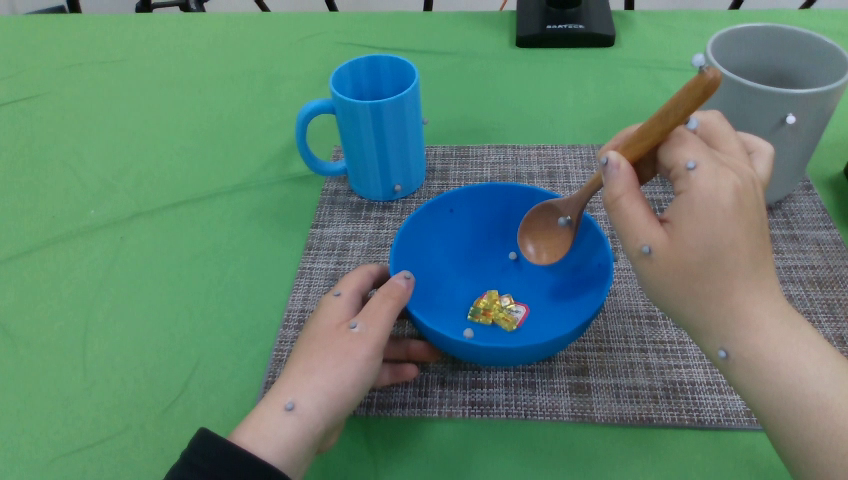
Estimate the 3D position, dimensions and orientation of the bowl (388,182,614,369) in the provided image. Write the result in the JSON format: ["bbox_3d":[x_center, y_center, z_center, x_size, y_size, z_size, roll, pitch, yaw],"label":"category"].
[{"bbox_3d":[0.053,0.037,0.432,0.151,0.077,0.150,-2,46,3],"label":"bowl"}]

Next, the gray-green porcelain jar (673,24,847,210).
[{"bbox_3d":[0.274,-0.097,0.509,0.106,0.128,0.105,-2,46,3],"label":"gray-green porcelain jar"}]

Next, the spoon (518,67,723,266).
[{"bbox_3d":[0.101,-0.032,0.349,0.022,0.194,0.041,-19,73,-22],"label":"spoon"}]

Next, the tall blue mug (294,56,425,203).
[{"bbox_3d":[-0.052,-0.091,0.542,0.107,0.109,0.077,-33,53,-24],"label":"tall blue mug"}]
